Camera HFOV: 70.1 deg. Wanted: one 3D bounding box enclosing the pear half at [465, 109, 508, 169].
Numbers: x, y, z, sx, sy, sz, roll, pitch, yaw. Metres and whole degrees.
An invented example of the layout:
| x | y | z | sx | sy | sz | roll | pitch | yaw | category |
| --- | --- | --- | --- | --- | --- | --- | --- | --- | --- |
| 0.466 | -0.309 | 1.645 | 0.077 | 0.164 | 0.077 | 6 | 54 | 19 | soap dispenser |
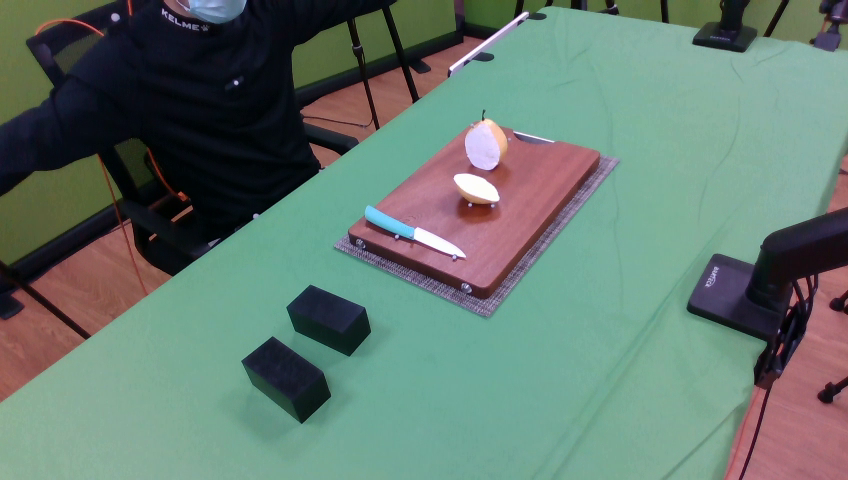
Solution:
| x | y | z | sx | sy | sz | roll | pitch | yaw | category |
| --- | --- | --- | --- | --- | --- | --- | --- | --- | --- |
| 0.112 | -0.185 | 1.055 | 0.076 | 0.110 | 0.056 | 18 | 46 | 22 | pear half |

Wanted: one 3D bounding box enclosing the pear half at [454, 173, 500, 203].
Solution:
| x | y | z | sx | sy | sz | roll | pitch | yaw | category |
| --- | --- | --- | --- | --- | --- | --- | --- | --- | --- |
| 0.086 | -0.079 | 0.994 | 0.071 | 0.031 | 0.087 | -22 | 54 | -38 | pear half |

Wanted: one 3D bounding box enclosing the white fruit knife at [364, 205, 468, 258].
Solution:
| x | y | z | sx | sy | sz | roll | pitch | yaw | category |
| --- | --- | --- | --- | --- | --- | --- | --- | --- | --- |
| -0.017 | -0.012 | 0.943 | 0.206 | 0.016 | 0.027 | 24 | 64 | 29 | white fruit knife |
